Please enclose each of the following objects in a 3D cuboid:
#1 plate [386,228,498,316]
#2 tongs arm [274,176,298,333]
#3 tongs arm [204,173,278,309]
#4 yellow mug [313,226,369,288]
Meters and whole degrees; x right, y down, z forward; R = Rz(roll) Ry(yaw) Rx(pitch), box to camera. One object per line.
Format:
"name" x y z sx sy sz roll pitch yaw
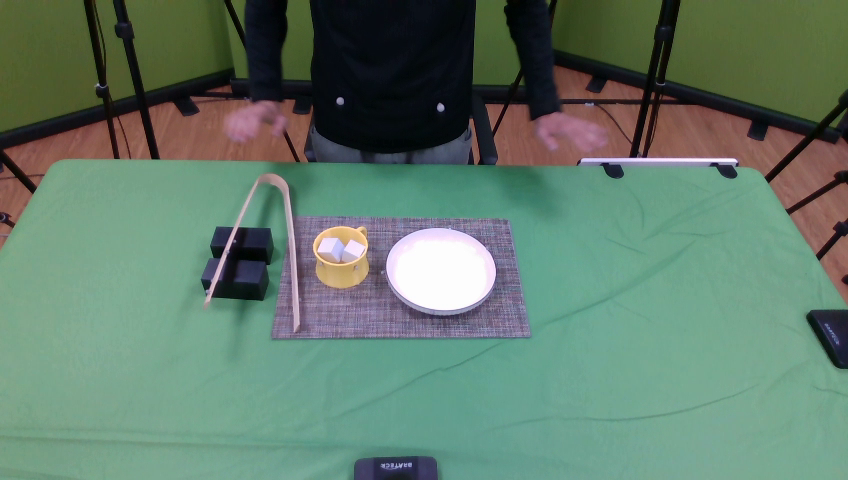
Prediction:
"plate" 0.032 0.062 1.126 0.208 0.039 0.206 2 46 -2
"tongs arm" -0.260 0.014 1.154 0.028 0.028 0.385 9 43 -26
"tongs arm" -0.331 -0.012 1.122 0.051 0.026 0.382 21 37 -18
"yellow mug" -0.146 0.021 1.132 0.099 0.064 0.130 24 49 19
